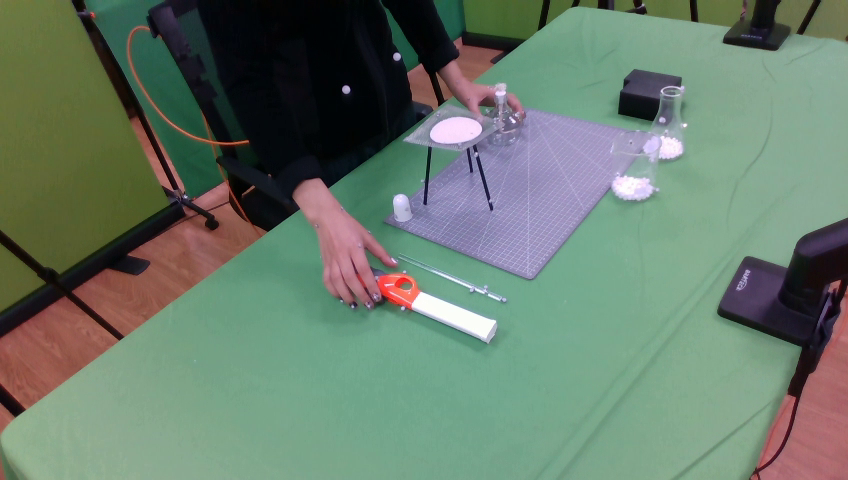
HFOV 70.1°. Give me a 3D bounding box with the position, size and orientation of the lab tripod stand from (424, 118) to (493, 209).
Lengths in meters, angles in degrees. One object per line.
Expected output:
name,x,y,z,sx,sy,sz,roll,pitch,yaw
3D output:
lab tripod stand,0.061,-0.133,1.039,0.148,0.132,0.147,-6,39,6

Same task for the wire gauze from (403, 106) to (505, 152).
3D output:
wire gauze,0.049,-0.181,0.992,0.120,0.011,0.125,23,48,34

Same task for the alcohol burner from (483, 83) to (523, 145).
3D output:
alcohol burner,0.152,-0.246,1.170,0.078,0.120,0.077,-7,39,7

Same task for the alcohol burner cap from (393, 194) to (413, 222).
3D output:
alcohol burner cap,-0.039,-0.056,1.038,0.034,0.048,0.033,-5,40,5

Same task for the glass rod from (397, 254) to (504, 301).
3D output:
glass rod,0.036,0.054,0.922,0.198,0.008,0.008,21,49,31

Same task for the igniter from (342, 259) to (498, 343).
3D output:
igniter,-0.017,0.084,0.883,0.274,0.025,0.057,20,59,31

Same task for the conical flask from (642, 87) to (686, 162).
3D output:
conical flask,0.429,-0.206,1.068,0.075,0.122,0.075,-6,40,5

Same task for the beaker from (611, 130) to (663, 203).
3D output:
beaker,0.346,-0.118,0.998,0.084,0.101,0.073,-17,40,-7
